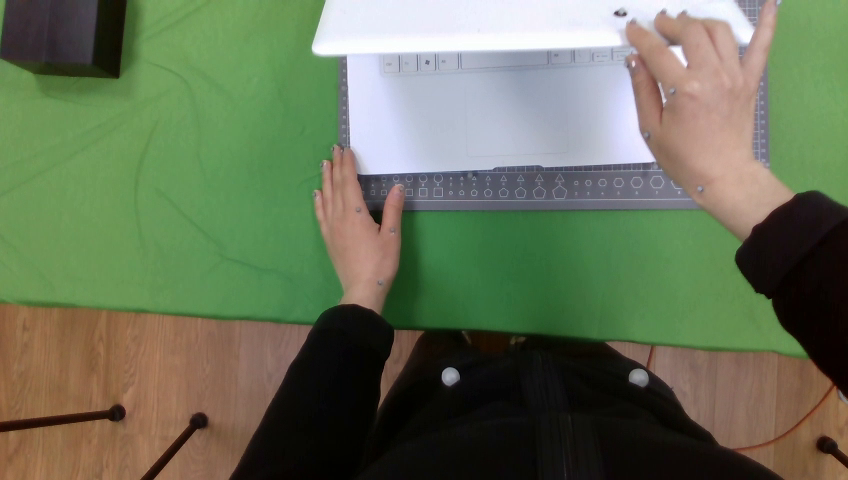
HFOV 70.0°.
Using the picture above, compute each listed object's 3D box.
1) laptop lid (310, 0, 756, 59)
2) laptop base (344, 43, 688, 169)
[{"bbox_3d":[0.085,-0.234,0.548,0.356,0.013,0.239,-1,48,3],"label":"laptop lid"},{"bbox_3d":[0.092,-0.198,0.635,0.354,0.023,0.235,-2,92,2],"label":"laptop base"}]
